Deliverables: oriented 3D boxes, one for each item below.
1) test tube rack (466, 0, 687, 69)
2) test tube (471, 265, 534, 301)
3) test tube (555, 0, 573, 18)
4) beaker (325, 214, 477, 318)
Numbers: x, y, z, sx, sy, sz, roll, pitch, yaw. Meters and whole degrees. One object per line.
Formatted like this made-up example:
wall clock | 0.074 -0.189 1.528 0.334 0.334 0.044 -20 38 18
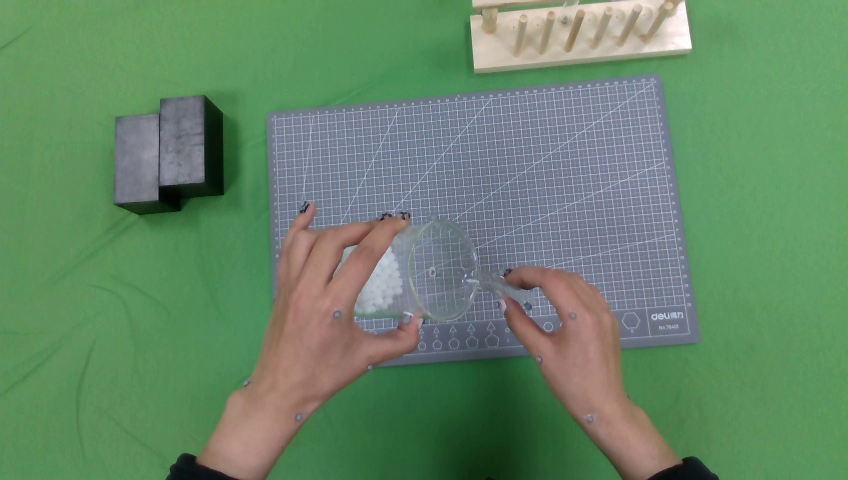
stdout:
test tube rack | 0.169 -0.247 0.657 0.242 0.085 0.066 -5 80 3
test tube | 0.073 0.040 0.534 0.017 0.151 0.017 -5 78 23
test tube | 0.153 -0.272 0.612 0.017 0.151 0.017 0 77 1
beaker | -0.019 0.023 0.466 0.100 0.085 0.073 -5 74 43
